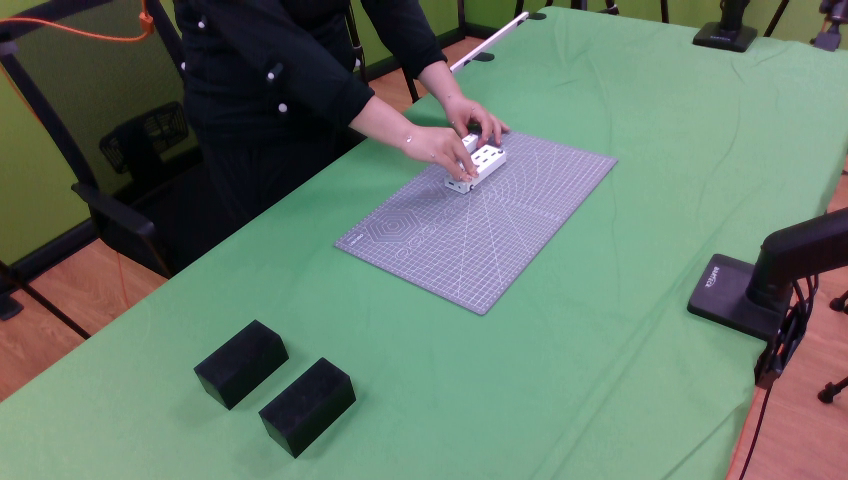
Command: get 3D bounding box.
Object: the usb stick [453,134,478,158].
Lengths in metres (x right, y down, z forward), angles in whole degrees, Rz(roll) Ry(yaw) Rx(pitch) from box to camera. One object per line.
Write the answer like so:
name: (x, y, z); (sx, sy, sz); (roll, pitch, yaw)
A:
usb stick: (0.078, -0.178, 1.160); (0.021, 0.027, 0.059); (30, 54, 27)

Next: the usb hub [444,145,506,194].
usb hub: (0.095, -0.129, 1.102); (0.049, 0.025, 0.125); (27, 51, 33)
